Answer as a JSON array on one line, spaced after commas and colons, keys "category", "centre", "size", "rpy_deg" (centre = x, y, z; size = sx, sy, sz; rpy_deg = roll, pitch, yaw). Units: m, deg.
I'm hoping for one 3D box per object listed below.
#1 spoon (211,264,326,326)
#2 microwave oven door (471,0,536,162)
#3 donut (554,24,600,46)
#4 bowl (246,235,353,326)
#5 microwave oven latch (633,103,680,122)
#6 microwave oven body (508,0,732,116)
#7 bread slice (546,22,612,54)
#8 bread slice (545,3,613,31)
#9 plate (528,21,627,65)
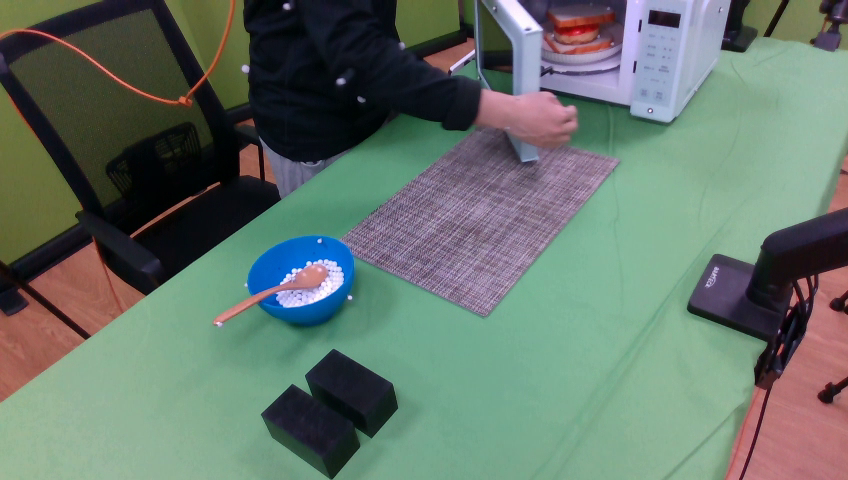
[{"category": "spoon", "centre": [-0.208, 0.072, 0.822], "size": [0.041, 0.021, 0.195], "rpy_deg": [26, 28, 27]}, {"category": "microwave oven door", "centre": [0.147, -0.343, 1.154], "size": [0.039, 0.245, 0.353], "rpy_deg": [-11, 41, -4]}, {"category": "donut", "centre": [0.328, -0.451, 1.296], "size": [0.099, 0.048, 0.098], "rpy_deg": [-5, 44, 5]}, {"category": "bowl", "centre": [-0.170, 0.070, 0.868], "size": [0.151, 0.077, 0.150], "rpy_deg": [-4, 41, 4]}, {"category": "microwave oven latch", "centre": [0.443, -0.249, 1.158], "size": [0.078, 0.029, 0.030], "rpy_deg": [21, 49, 30]}, {"category": "microwave oven body", "centre": [0.377, -0.463, 1.267], "size": [0.438, 0.261, 0.327], "rpy_deg": [21, 49, 30]}, {"category": "bread slice", "centre": [0.339, -0.442, 1.314], "size": [0.135, 0.018, 0.106], "rpy_deg": [-7, 52, -9]}, {"category": "bread slice", "centre": [0.331, -0.476, 1.282], "size": [0.131, 0.019, 0.104], "rpy_deg": [-9, 37, 1]}, {"category": "plate", "centre": [0.332, -0.431, 1.318], "size": [0.207, 0.039, 0.206], "rpy_deg": [-4, 41, 4]}]
